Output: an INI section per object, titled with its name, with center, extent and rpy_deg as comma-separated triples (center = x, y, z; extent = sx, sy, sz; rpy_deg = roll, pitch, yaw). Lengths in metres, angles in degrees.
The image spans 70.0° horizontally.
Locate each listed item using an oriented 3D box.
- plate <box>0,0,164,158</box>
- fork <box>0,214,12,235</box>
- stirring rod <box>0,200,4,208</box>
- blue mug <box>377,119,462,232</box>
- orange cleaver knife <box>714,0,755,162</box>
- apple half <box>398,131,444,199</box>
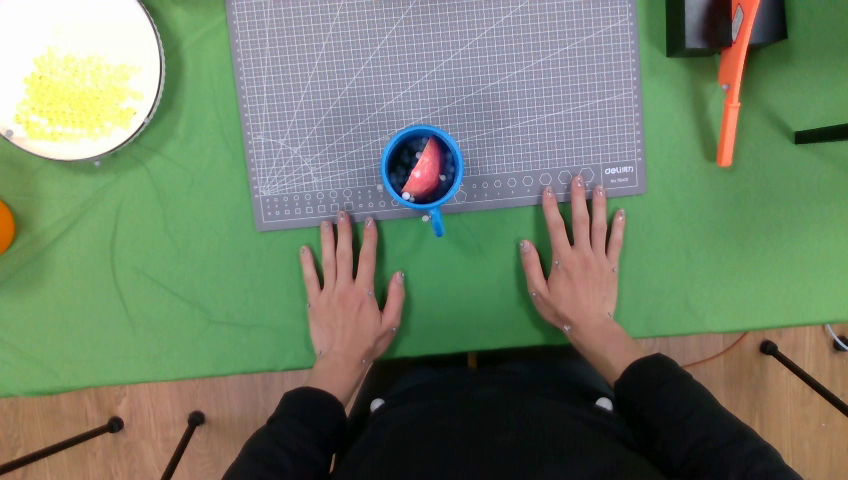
[plate]
center = -0.381, -0.193, 0.652
extent = 0.209, 0.038, 0.209
rpy_deg = 0, 97, -1
[fork]
center = -0.540, -0.026, 0.610
extent = 0.209, 0.018, 0.028
rpy_deg = 8, 94, -46
[stirring rod]
center = -0.516, 0.008, 0.620
extent = 0.014, 0.006, 0.175
rpy_deg = 46, 51, -7
[blue mug]
center = 0.000, -0.065, 0.641
extent = 0.082, 0.105, 0.117
rpy_deg = -16, 96, 1
[orange cleaver knife]
center = 0.328, -0.189, 0.651
extent = 0.012, 0.076, 0.213
rpy_deg = -3, 123, 8
[apple half]
center = 0.004, -0.074, 0.634
extent = 0.033, 0.081, 0.081
rpy_deg = 30, 94, 3
